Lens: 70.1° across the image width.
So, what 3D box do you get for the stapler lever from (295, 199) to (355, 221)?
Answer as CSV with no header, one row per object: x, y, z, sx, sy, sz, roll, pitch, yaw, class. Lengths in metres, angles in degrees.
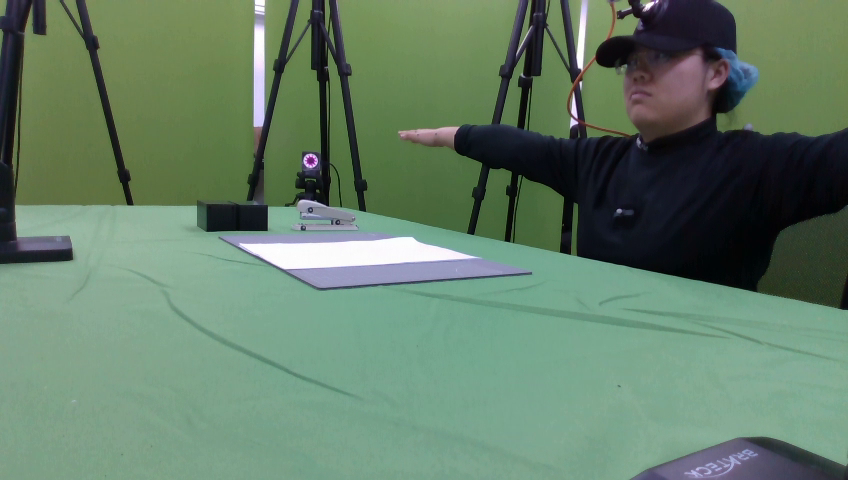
-0.196,-0.058,1.199,0.118,0.040,0.026,2,10,-25,stapler lever

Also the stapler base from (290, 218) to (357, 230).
-0.199,-0.033,1.201,0.131,0.024,0.041,2,10,-25,stapler base
